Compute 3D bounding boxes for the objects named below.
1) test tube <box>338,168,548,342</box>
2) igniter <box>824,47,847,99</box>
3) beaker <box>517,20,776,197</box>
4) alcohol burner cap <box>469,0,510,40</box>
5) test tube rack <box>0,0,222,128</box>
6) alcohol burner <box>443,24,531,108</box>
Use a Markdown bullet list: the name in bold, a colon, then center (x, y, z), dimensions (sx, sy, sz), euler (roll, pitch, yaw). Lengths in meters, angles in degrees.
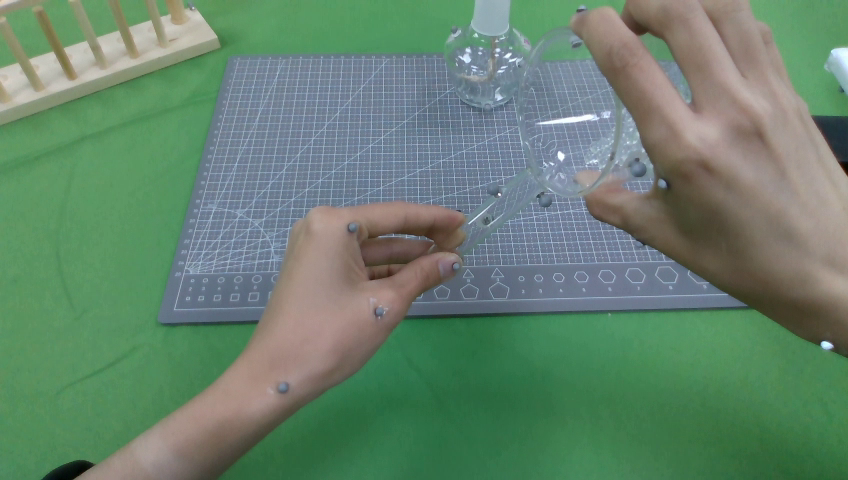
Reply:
- **test tube**: center (0.005, 0.013, 0.331), dimensions (0.150, 0.017, 0.017), euler (-40, 50, 23)
- **igniter**: center (0.347, -0.050, 0.424), dimensions (0.057, 0.025, 0.274), euler (0, 51, 5)
- **beaker**: center (0.105, -0.063, 0.289), dimensions (0.100, 0.084, 0.073), euler (-12, 59, -21)
- **alcohol burner cap**: center (0.055, -0.193, 0.496), dimensions (0.034, 0.048, 0.033), euler (2, 52, -2)
- **test tube rack**: center (-0.321, -0.184, 0.549), dimensions (0.242, 0.086, 0.066), euler (-27, 57, -19)
- **alcohol burner**: center (0.056, -0.173, 0.519), dimensions (0.078, 0.120, 0.077), euler (1, 54, -1)
